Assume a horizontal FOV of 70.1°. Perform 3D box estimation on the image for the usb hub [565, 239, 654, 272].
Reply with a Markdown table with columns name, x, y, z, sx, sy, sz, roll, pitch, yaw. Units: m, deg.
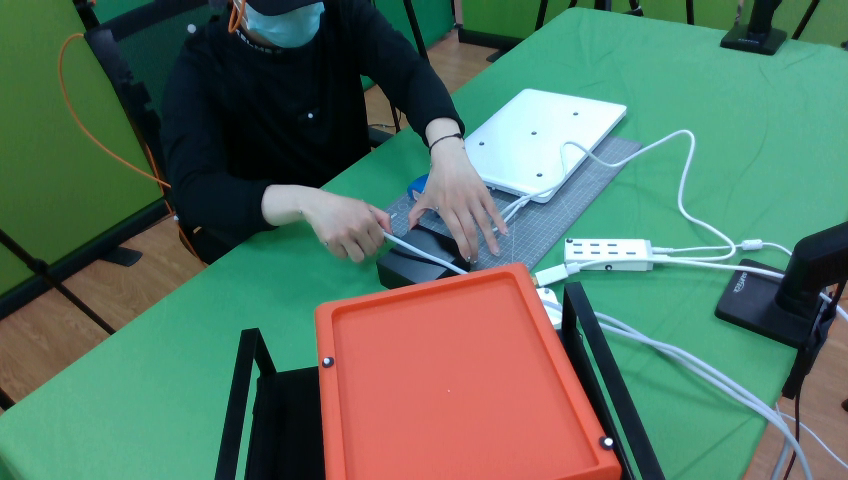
| name | x | y | z | sx | sy | sz | roll | pitch | yaw |
| --- | --- | --- | --- | --- | --- | --- | --- | --- | --- |
| usb hub | 0.275 | 0.022 | 0.906 | 0.125 | 0.025 | 0.049 | 1 | 41 | 9 |

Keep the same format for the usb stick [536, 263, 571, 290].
| name | x | y | z | sx | sy | sz | roll | pitch | yaw |
| --- | --- | --- | --- | --- | --- | --- | --- | --- | --- |
| usb stick | 0.181 | 0.057 | 0.875 | 0.059 | 0.027 | 0.021 | -31 | 87 | -7 |

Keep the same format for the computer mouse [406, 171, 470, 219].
| name | x | y | z | sx | sy | sz | roll | pitch | yaw |
| --- | --- | --- | --- | --- | --- | --- | --- | --- | --- |
| computer mouse | 0.024 | -0.082 | 1.049 | 0.063 | 0.041 | 0.116 | -29 | 50 | -27 |

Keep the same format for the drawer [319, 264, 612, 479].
| name | x | y | z | sx | sy | sz | roll | pitch | yaw |
| --- | --- | --- | --- | --- | --- | --- | --- | --- | --- |
| drawer | 0.020 | 0.129 | 0.497 | 0.195 | 0.073 | 0.210 | -11 | 41 | -5 |

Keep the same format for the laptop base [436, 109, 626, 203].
| name | x | y | z | sx | sy | sz | roll | pitch | yaw |
| --- | --- | --- | --- | --- | --- | --- | --- | --- | --- |
| laptop base | 0.215 | -0.193 | 1.172 | 0.233 | 0.023 | 0.355 | 19 | 46 | 32 |

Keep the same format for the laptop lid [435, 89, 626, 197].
| name | x | y | z | sx | sy | sz | roll | pitch | yaw |
| --- | --- | --- | --- | --- | --- | --- | --- | --- | --- |
| laptop lid | 0.211 | -0.202 | 1.165 | 0.240 | 0.013 | 0.358 | 21 | 47 | 32 |

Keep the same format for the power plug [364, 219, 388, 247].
| name | x | y | z | sx | sy | sz | roll | pitch | yaw |
| --- | --- | --- | --- | --- | --- | --- | --- | --- | --- |
| power plug | -0.073 | -0.002 | 0.941 | 0.035 | 0.053 | 0.072 | -20 | 42 | 1 |

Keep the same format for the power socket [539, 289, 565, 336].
| name | x | y | z | sx | sy | sz | roll | pitch | yaw |
| --- | --- | --- | --- | --- | --- | --- | --- | --- | --- |
| power socket | 0.081 | 0.112 | 0.822 | 0.227 | 0.033 | 0.072 | -7 | 41 | -1 |

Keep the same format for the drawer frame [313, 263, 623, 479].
| name | x | y | z | sx | sy | sz | roll | pitch | yaw |
| --- | --- | --- | --- | --- | --- | --- | --- | --- | --- |
| drawer frame | 0.021 | 0.130 | 0.494 | 0.202 | 0.083 | 0.212 | -11 | 41 | -6 |
